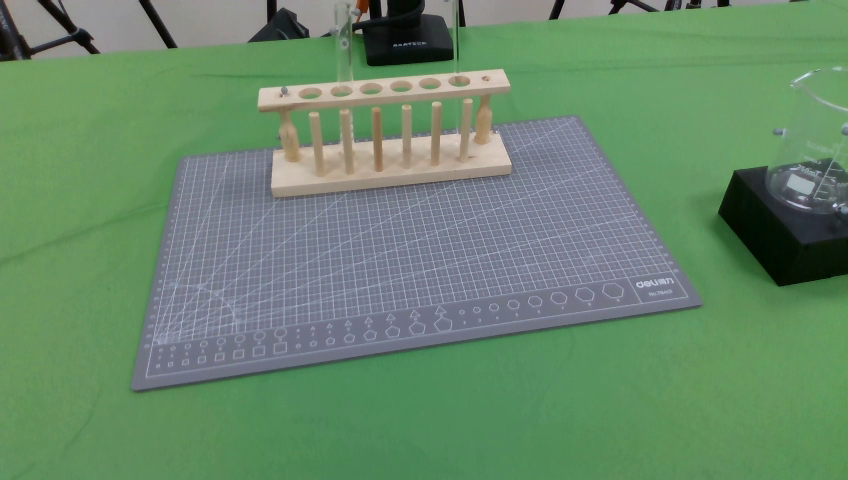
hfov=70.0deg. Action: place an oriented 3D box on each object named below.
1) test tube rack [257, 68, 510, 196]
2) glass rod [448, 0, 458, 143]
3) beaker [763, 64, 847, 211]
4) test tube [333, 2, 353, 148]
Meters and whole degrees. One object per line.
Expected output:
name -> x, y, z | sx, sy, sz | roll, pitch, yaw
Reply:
test tube rack -> -0.036, -0.109, 0.608 | 0.243, 0.086, 0.066 | -6, 44, -6
glass rod -> 0.029, -0.185, 0.591 | 0.008, 0.201, 0.008 | -2, 37, 2
beaker -> 0.325, -0.081, 0.492 | 0.083, 0.101, 0.074 | 23, 49, 25
test tube -> -0.077, -0.152, 0.582 | 0.017, 0.151, 0.017 | 3, 43, -2
